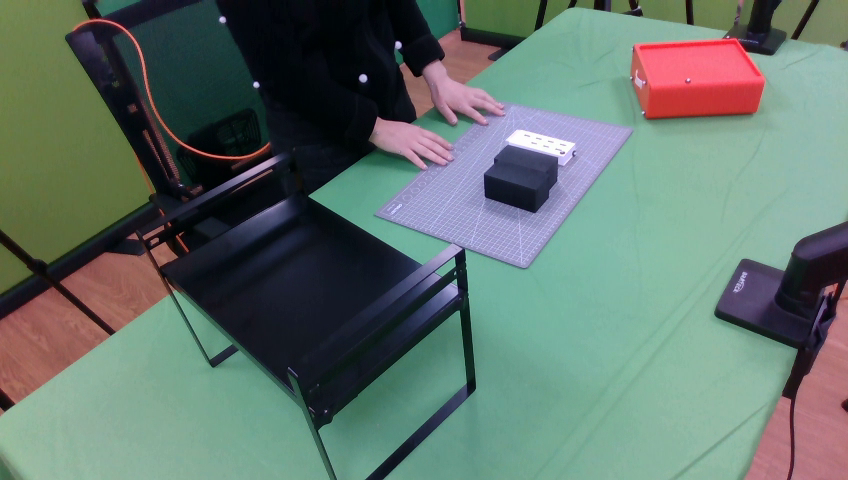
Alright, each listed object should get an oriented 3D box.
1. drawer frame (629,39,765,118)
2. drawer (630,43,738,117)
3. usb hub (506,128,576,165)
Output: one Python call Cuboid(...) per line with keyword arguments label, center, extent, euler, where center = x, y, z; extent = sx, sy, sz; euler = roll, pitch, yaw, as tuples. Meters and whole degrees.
Cuboid(label="drawer frame", center=(0.543, -0.332, 1.234), extent=(0.213, 0.083, 0.201), euler=(-1, 41, 6))
Cuboid(label="drawer", center=(0.542, -0.331, 1.235), extent=(0.211, 0.073, 0.194), euler=(-1, 40, 7))
Cuboid(label="usb hub", center=(0.219, -0.177, 1.142), extent=(0.124, 0.025, 0.049), euler=(21, 49, 30))
